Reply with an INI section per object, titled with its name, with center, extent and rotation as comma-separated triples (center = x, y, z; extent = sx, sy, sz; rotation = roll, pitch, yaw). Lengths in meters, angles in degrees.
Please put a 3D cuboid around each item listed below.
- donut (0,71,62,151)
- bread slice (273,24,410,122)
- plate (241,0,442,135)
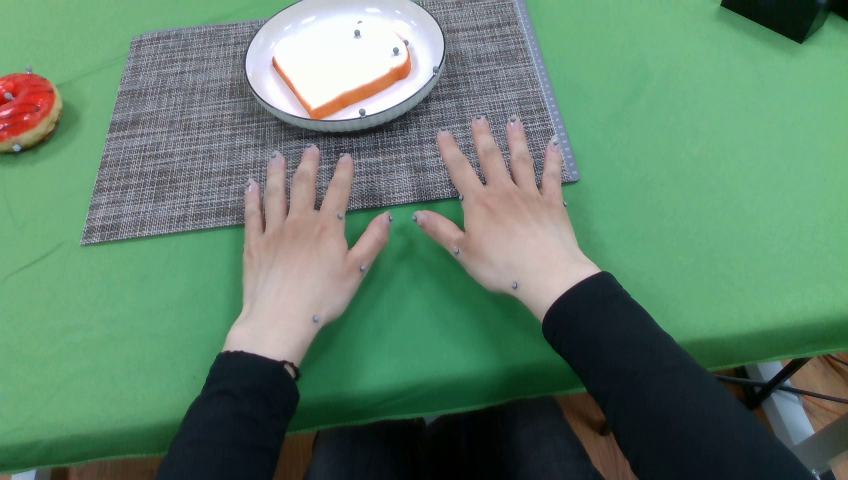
[donut]
center = -0.426, -0.134, 0.626
extent = 0.099, 0.049, 0.098
rotation = -3, 56, 4
[bread slice]
center = -0.084, -0.185, 0.641
extent = 0.131, 0.019, 0.104
rotation = -29, 59, -15
[plate]
center = -0.084, -0.183, 0.638
extent = 0.207, 0.039, 0.205
rotation = -1, 56, 2
